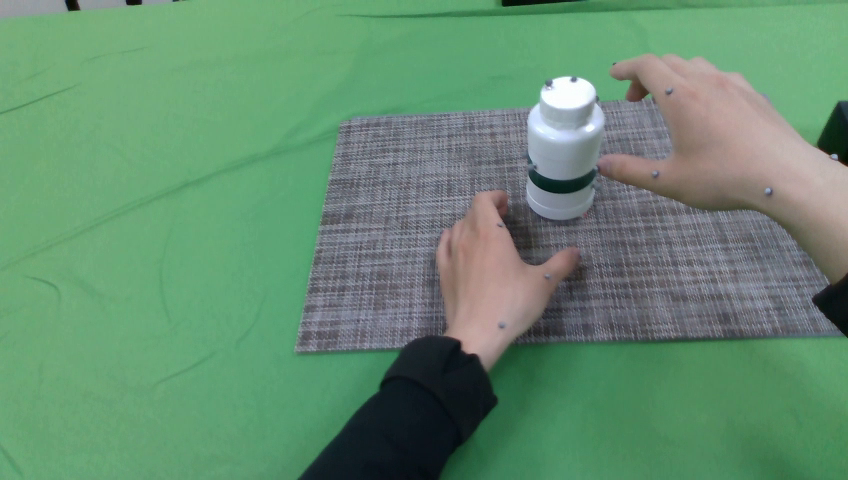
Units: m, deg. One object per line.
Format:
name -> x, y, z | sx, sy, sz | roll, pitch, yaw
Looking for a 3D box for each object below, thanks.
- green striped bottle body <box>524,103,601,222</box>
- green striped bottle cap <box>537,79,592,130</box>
green striped bottle body -> 0.119, -0.077, 0.530 | 0.063, 0.120, 0.062 | -4, 49, 5
green striped bottle cap -> 0.114, -0.110, 0.491 | 0.044, 0.020, 0.044 | -5, 53, 7
